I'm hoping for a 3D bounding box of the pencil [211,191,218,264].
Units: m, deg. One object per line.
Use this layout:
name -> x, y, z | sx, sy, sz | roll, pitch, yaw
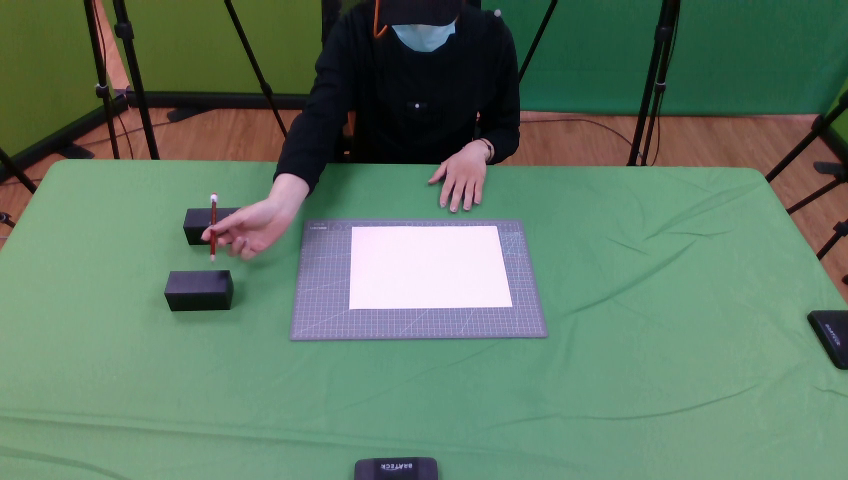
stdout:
pencil -> -0.368, -0.025, 1.062 | 0.012, 0.012, 0.192 | -8, 43, -12
